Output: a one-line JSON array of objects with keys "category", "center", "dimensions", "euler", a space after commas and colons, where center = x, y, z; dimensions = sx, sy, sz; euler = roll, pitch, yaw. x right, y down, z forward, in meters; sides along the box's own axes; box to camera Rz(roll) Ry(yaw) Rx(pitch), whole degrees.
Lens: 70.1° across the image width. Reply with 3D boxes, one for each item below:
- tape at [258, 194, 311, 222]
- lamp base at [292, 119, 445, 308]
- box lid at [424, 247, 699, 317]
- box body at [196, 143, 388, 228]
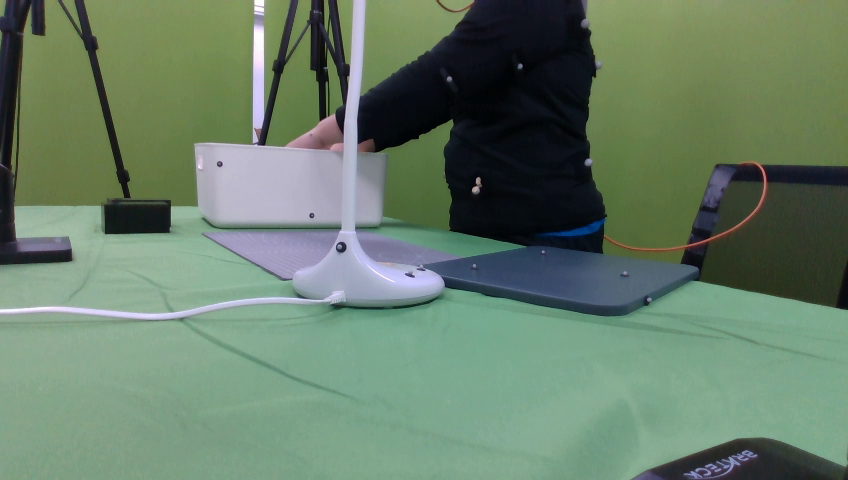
[{"category": "tape", "center": [-0.299, -0.070, 1.298], "dimensions": [0.117, 0.052, 0.117], "euler": [2, 7, 0]}, {"category": "lamp base", "center": [-0.056, -0.030, 0.616], "dimensions": [0.160, 0.180, 0.179], "euler": [4, 10, 8]}, {"category": "box lid", "center": [0.184, 0.044, 0.789], "dimensions": [0.262, 0.015, 0.373], "euler": [8, 9, 35]}, {"category": "box body", "center": [-0.286, -0.117, 1.291], "dimensions": [0.366, 0.160, 0.253], "euler": [-1, 8, -27]}]
